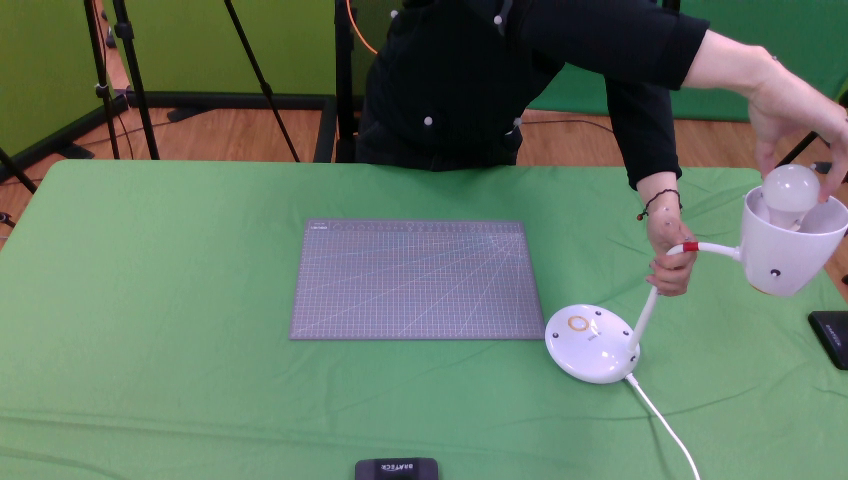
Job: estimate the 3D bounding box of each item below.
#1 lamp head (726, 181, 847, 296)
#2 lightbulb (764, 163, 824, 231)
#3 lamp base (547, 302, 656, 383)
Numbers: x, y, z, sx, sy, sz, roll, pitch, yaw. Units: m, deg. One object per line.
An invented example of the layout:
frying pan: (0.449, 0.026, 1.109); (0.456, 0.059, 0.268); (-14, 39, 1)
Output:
lamp head: (0.429, 0.005, 0.726); (0.112, 0.123, 0.111); (0, 39, 0)
lightbulb: (0.424, -0.038, 0.701); (0.059, 0.108, 0.059); (-9, 33, 6)
lamp base: (0.304, 0.127, 0.982); (0.160, 0.181, 0.178); (-33, 59, -29)
